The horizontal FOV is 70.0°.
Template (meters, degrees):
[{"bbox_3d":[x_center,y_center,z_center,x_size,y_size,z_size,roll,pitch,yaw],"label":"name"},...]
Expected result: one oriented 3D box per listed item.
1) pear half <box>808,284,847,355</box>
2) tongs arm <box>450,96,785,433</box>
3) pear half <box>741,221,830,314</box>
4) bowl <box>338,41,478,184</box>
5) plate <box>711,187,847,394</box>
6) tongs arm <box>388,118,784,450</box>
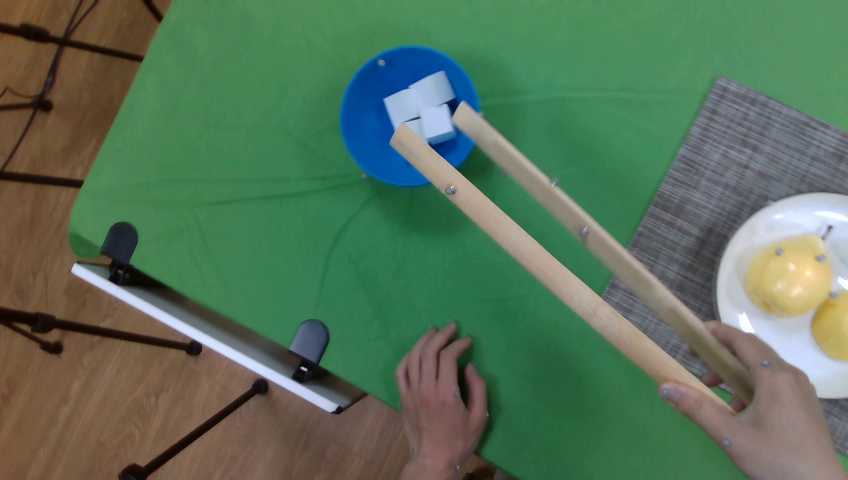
[{"bbox_3d":[0.437,0.079,0.608,0.088,0.031,0.070,-31,87,11],"label":"pear half"},{"bbox_3d":[0.150,0.013,0.521,0.383,0.051,0.026,45,130,10],"label":"tongs arm"},{"bbox_3d":[0.379,0.020,0.611,0.076,0.056,0.110,38,88,5],"label":"pear half"},{"bbox_3d":[-0.012,-0.131,0.670,0.151,0.077,0.151,0,87,8],"label":"bowl"},{"bbox_3d":[0.400,0.050,0.620,0.207,0.039,0.207,-1,87,8],"label":"plate"},{"bbox_3d":[0.119,0.033,0.481,0.386,0.028,0.028,41,126,7],"label":"tongs arm"}]
